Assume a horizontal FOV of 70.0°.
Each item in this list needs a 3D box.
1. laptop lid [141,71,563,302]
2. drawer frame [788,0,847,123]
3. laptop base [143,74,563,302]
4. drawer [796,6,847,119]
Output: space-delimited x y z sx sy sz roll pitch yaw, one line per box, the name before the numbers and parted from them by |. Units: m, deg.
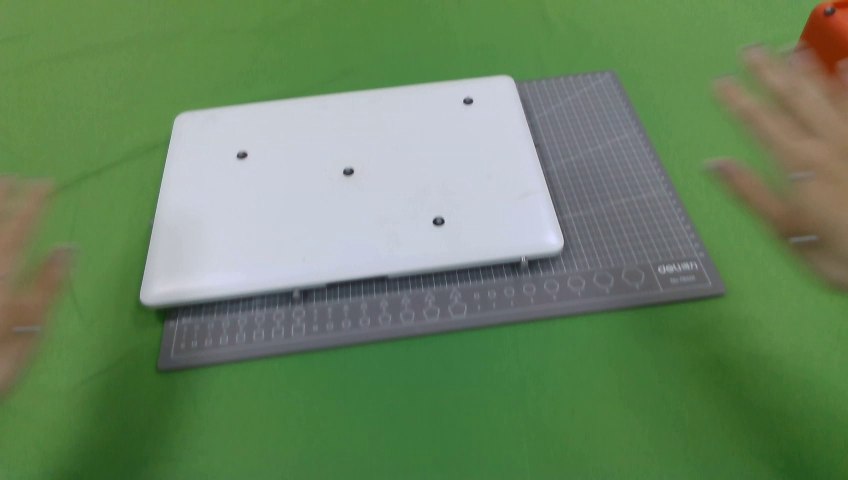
laptop lid | -0.070 -0.064 0.561 0.357 0.013 0.239 -6 54 -1
drawer frame | 0.500 -0.150 0.565 0.202 0.083 0.211 -12 51 -4
laptop base | -0.069 -0.058 0.572 0.354 0.023 0.233 -7 55 -2
drawer | 0.501 -0.148 0.564 0.195 0.074 0.209 -11 51 -4
